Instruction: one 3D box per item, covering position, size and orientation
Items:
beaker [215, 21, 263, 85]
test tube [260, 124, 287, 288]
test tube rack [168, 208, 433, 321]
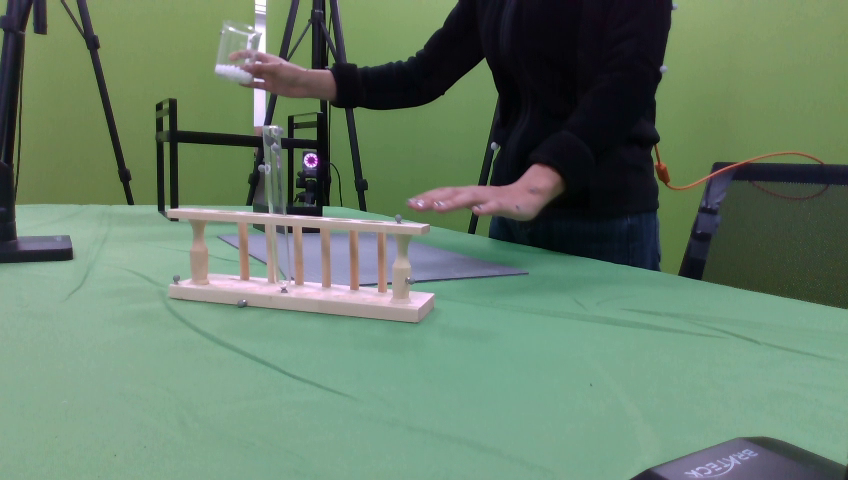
[{"bbox_3d":[-0.349,-0.350,1.141,0.083,0.100,0.074,13,4,22],"label":"beaker"},{"bbox_3d":[-0.138,-0.030,0.554,0.017,0.150,0.017,-2,8,1],"label":"test tube"},{"bbox_3d":[-0.116,0.017,0.574,0.242,0.085,0.067,4,8,13],"label":"test tube rack"}]
